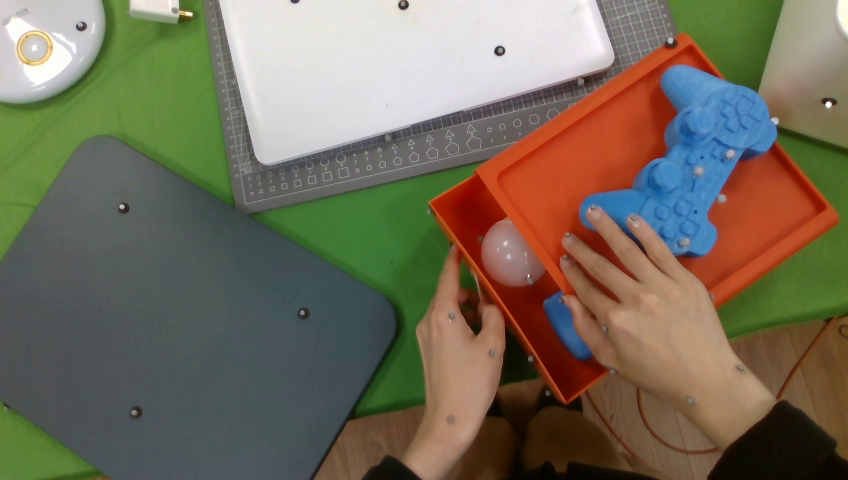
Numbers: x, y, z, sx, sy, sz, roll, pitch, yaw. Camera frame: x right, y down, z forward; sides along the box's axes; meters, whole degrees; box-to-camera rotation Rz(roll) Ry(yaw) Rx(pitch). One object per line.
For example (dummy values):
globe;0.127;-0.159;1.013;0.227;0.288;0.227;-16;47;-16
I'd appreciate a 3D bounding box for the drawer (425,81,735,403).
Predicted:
drawer;0.140;-0.003;0.513;0.212;0.073;0.193;-34;78;-2

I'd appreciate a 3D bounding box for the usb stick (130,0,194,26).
usb stick;-0.263;-0.234;0.610;0.059;0.021;0.027;3;81;-29

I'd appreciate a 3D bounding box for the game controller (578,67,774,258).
game controller;0.197;-0.058;0.467;0.097;0.052;0.155;33;85;6

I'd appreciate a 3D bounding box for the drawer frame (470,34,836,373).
drawer frame;0.180;-0.030;0.514;0.213;0.083;0.200;-34;78;-2

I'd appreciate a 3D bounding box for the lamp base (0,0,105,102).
lamp base;-0.423;-0.243;0.553;0.160;0.181;0.178;-41;75;-5

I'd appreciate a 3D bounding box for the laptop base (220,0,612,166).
laptop base;-0.018;-0.224;0.601;0.354;0.023;0.234;-16;81;1

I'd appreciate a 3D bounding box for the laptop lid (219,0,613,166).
laptop lid;-0.019;-0.225;0.589;0.357;0.013;0.240;-14;80;2

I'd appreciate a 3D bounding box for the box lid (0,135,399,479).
box lid;-0.236;0.084;0.560;0.370;0.015;0.263;29;83;8

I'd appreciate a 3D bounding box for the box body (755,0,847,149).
box body;0.462;-0.244;0.497;0.253;0.161;0.363;20;81;8

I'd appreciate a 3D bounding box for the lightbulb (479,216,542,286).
lightbulb;0.088;-0.009;0.528;0.059;0.060;0.107;24;68;9
